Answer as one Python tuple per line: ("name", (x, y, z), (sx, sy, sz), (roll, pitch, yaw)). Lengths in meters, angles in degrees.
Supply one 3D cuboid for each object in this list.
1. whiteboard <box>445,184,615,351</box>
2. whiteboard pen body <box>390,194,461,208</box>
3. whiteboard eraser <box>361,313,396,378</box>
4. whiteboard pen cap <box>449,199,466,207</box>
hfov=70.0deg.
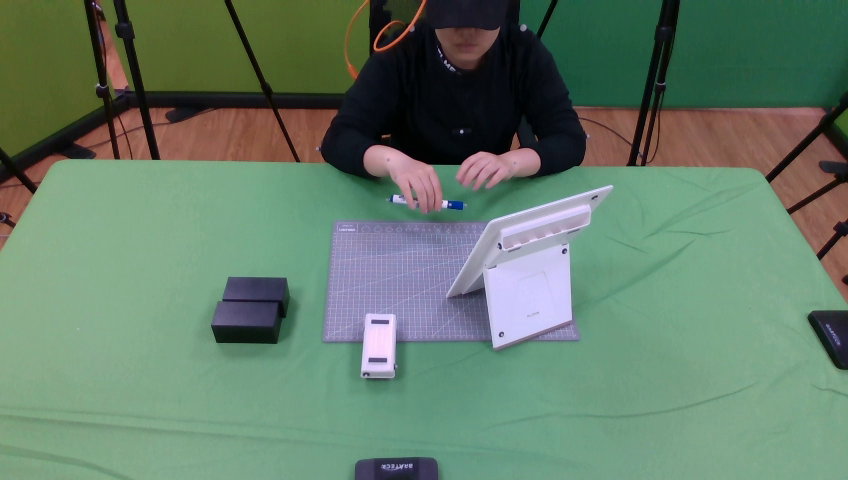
("whiteboard", (0.187, 0.065, 0.989), (0.217, 0.306, 0.143), (-15, 68, -18))
("whiteboard pen body", (0.004, -0.075, 1.188), (0.141, 0.017, 0.017), (7, 46, 1))
("whiteboard eraser", (-0.075, 0.176, 1.006), (0.055, 0.042, 0.112), (3, 50, -4))
("whiteboard pen cap", (0.066, -0.072, 1.187), (0.033, 0.018, 0.018), (-2, 41, -41))
